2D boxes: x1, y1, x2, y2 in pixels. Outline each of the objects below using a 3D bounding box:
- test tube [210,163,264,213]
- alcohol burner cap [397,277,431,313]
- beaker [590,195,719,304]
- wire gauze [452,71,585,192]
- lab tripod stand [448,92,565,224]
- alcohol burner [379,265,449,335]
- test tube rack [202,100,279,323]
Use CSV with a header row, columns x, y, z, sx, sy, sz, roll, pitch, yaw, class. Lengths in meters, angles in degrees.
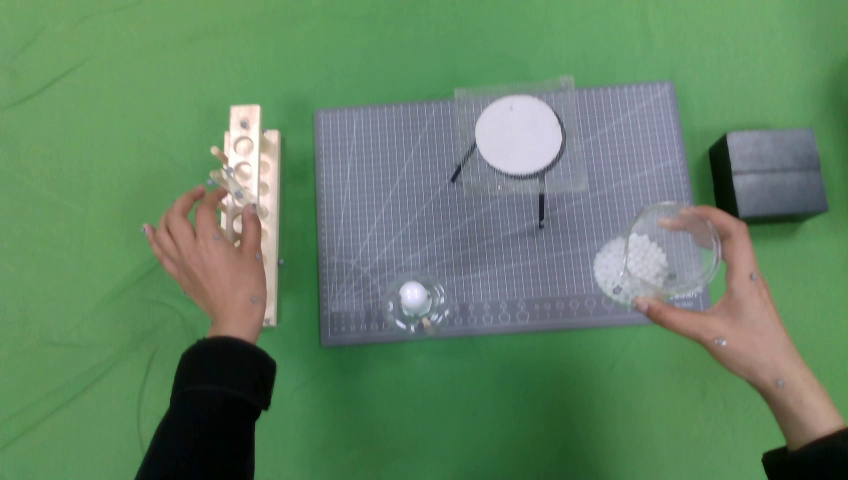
x,y,z,sx,sy,sz,roll,pitch,yaw,class
-0.196,-0.052,0.648,0.017,0.150,0.017,0,79,0,test tube
-0.012,0.055,0.617,0.034,0.048,0.033,-2,74,7,alcohol burner cap
0.185,0.016,0.510,0.084,0.100,0.073,-29,79,-8,beaker
0.094,-0.107,0.605,0.125,0.011,0.121,-3,79,1,wire gauze
0.100,-0.098,0.671,0.148,0.132,0.147,-1,76,3,lab tripod stand
-0.011,0.062,0.652,0.078,0.119,0.077,0,78,1,alcohol burner
-0.213,-0.030,0.694,0.067,0.085,0.241,-2,79,2,test tube rack
